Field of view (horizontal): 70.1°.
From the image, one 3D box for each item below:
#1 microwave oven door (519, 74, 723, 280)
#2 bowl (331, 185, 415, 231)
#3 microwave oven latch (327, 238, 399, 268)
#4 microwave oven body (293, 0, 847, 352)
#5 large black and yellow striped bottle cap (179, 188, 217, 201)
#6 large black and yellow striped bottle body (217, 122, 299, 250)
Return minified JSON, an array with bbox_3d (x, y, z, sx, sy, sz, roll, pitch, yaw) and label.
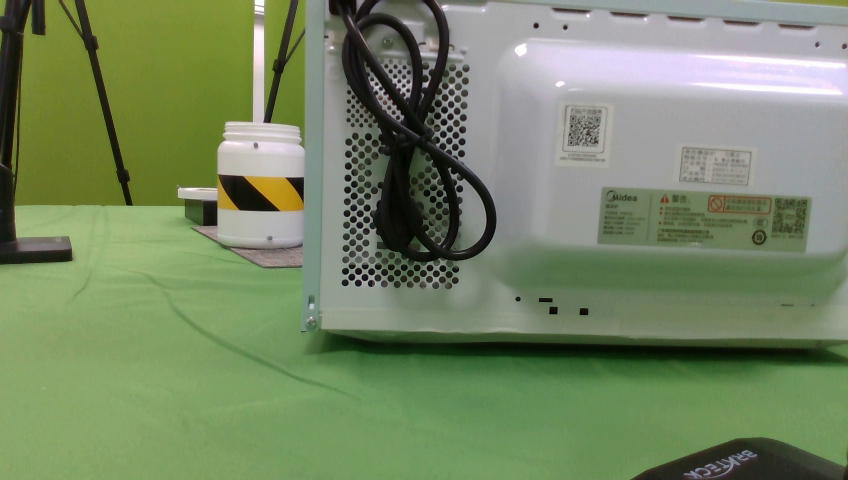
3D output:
[{"bbox_3d":[0.255,-0.094,0.863,0.039,0.243,0.354,-1,8,-25],"label":"microwave oven door"},{"bbox_3d":[-0.091,-0.058,1.092,0.151,0.077,0.151,0,8,0],"label":"bowl"},{"bbox_3d":[-0.069,0.015,0.694,0.079,0.029,0.030,3,7,-3],"label":"microwave oven latch"},{"bbox_3d":[0.122,-0.055,0.550,0.442,0.260,0.325,3,7,-5],"label":"microwave oven body"},{"bbox_3d":[-0.434,-0.093,1.226,0.115,0.019,0.115,3,9,0],"label":"large black and yellow striped bottle cap"},{"bbox_3d":[-0.250,-0.084,0.931,0.131,0.184,0.130,2,7,0],"label":"large black and yellow striped bottle body"}]
